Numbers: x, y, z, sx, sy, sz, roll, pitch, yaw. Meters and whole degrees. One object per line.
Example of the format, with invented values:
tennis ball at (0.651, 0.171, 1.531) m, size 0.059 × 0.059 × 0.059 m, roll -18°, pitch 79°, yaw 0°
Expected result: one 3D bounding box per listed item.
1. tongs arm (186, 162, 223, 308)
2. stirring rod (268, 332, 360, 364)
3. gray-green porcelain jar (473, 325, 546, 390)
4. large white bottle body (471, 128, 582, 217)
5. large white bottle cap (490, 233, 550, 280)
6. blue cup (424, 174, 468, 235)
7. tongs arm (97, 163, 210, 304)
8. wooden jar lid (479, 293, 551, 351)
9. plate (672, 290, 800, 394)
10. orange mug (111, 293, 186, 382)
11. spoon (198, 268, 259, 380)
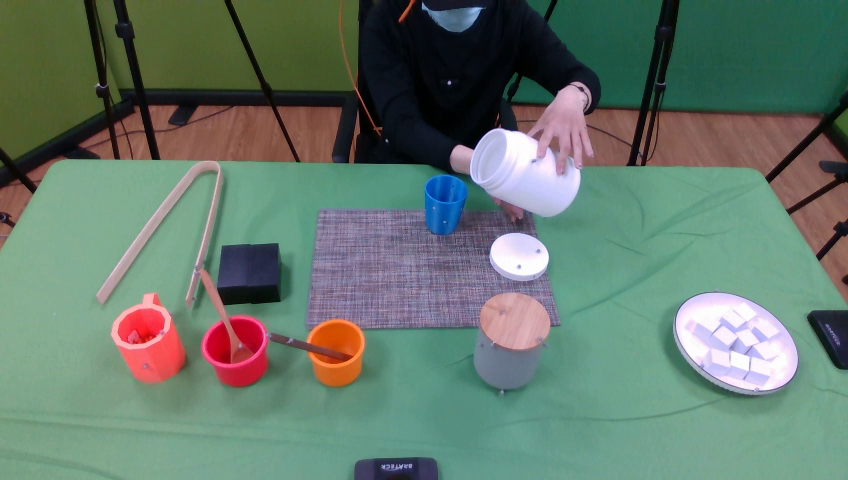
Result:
tongs arm at (-0.436, -0.024, 1.181) m, size 0.051 × 0.026 × 0.382 m, roll -2°, pitch 45°, yaw 0°
stirring rod at (-0.167, 0.169, 0.942) m, size 0.177 × 0.006 × 0.014 m, roll 26°, pitch 25°, yaw -41°
gray-green porcelain jar at (0.135, 0.170, 0.969) m, size 0.106 × 0.127 × 0.105 m, roll 2°, pitch 46°, yaw -2°
large white bottle body at (0.193, -0.131, 1.157) m, size 0.185 × 0.131 × 0.129 m, roll 20°, pitch 38°, yaw -30°
large white bottle cap at (0.186, 0.031, 1.177) m, size 0.115 × 0.018 × 0.114 m, roll 2°, pitch 46°, yaw -2°
blue cup at (0.039, -0.065, 1.201) m, size 0.093 × 0.101 × 0.092 m, roll 3°, pitch 47°, yaw -3°
tongs arm at (-0.520, -0.028, 1.183) m, size 0.028 × 0.028 × 0.385 m, roll 5°, pitch 45°, yaw 12°
wooden jar lid at (0.137, 0.127, 0.925) m, size 0.108 × 0.021 × 0.107 m, roll 1°, pitch 47°, yaw -1°
plate at (0.533, 0.178, 1.050) m, size 0.208 × 0.039 × 0.206 m, roll 2°, pitch 46°, yaw -2°
orange mug at (-0.435, 0.149, 0.969) m, size 0.083 × 0.101 × 0.125 m, roll -5°, pitch 51°, yaw -8°
spoon at (-0.312, 0.132, 0.962) m, size 0.041 × 0.021 × 0.194 m, roll -24°, pitch 96°, yaw -22°
